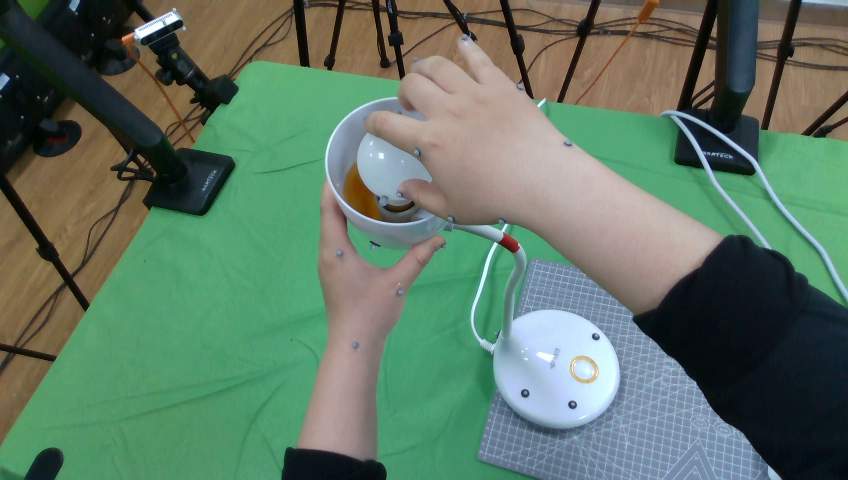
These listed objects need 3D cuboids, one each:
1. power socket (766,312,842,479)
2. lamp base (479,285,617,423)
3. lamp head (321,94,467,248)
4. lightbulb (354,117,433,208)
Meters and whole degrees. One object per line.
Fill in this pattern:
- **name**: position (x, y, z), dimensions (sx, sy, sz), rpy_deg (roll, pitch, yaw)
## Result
- **power socket**: position (0.452, 0.187, 0.727), dimensions (0.072, 0.033, 0.225), rpy_deg (11, 59, 13)
- **lamp base**: position (0.146, 0.115, 0.723), dimensions (0.178, 0.182, 0.159), rpy_deg (6, 58, 14)
- **lamp head**: position (-0.019, -0.042, 0.506), dimensions (0.112, 0.124, 0.111), rpy_deg (-1, 66, 4)
- **lightbulb**: position (-0.023, -0.053, 0.475), dimensions (0.059, 0.108, 0.059), rpy_deg (0, 70, 0)
